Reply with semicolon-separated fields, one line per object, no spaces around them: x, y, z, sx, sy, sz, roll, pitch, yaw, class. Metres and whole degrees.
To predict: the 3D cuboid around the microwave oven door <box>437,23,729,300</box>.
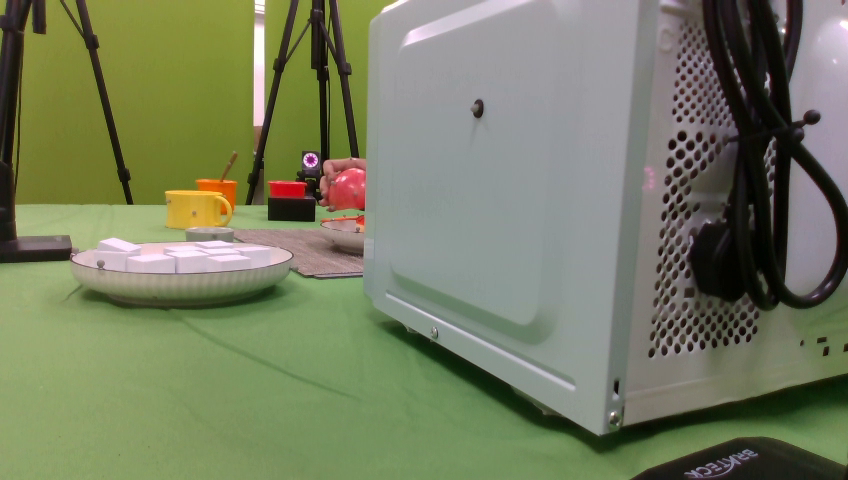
0.181;-0.072;0.621;0.358;0.243;0.039;-2;8;-29;microwave oven door

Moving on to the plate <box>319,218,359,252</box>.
-0.059;-0.007;0.939;0.209;0.038;0.209;3;8;0;plate

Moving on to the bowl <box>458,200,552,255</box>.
0.128;-0.020;0.977;0.151;0.077;0.151;2;8;0;bowl

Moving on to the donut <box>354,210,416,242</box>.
-0.061;-0.020;0.955;0.099;0.048;0.099;4;8;0;donut

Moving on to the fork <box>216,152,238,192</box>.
-0.455;-0.132;1.366;0.028;0.018;0.207;-3;-35;-38;fork

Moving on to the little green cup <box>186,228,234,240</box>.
-0.284;0.005;0.805;0.061;0.038;0.061;2;8;0;little green cup

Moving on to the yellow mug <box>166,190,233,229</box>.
-0.415;-0.057;1.132;0.130;0.064;0.100;6;8;16;yellow mug

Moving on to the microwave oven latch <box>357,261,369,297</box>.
-0.019;0.033;0.531;0.079;0.029;0.030;-1;7;-27;microwave oven latch

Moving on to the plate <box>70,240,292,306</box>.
-0.242;0.032;0.618;0.208;0.039;0.207;2;8;0;plate

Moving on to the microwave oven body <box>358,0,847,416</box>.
0.211;-0.047;0.474;0.444;0.260;0.324;-1;7;-28;microwave oven body

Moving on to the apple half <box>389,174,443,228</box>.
-0.005;-0.062;0.886;0.081;0.074;0.053;14;-36;-35;apple half

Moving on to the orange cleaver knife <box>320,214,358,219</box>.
-0.142;-0.057;1.395;0.077;0.012;0.212;3;7;44;orange cleaver knife

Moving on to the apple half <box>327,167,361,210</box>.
-0.126;-0.088;0.974;0.081;0.081;0.033;5;-19;20;apple half

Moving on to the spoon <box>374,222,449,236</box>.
-0.029;-0.025;1.178;0.193;0.021;0.042;10;25;41;spoon
